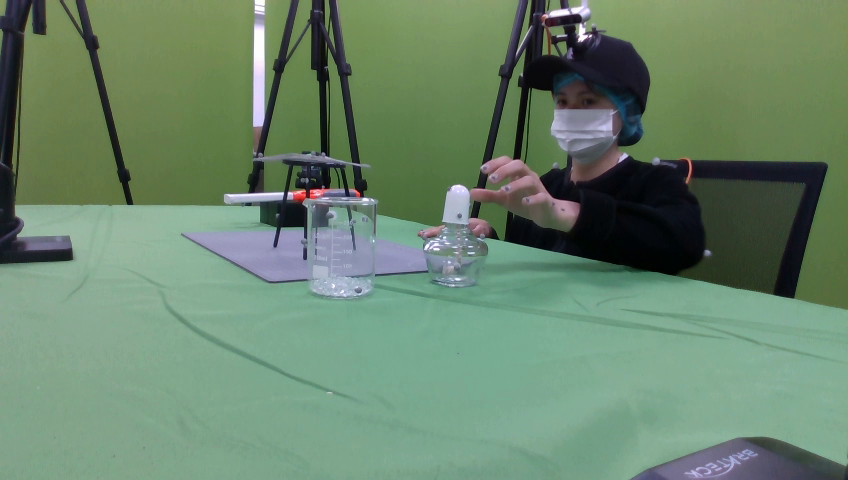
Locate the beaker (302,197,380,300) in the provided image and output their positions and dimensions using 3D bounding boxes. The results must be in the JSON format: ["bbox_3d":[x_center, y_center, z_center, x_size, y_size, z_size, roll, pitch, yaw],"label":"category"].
[{"bbox_3d":[-0.089,0.007,0.625,0.084,0.100,0.074,4,7,16],"label":"beaker"}]

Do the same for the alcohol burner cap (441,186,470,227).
[{"bbox_3d":[0.038,-0.039,0.700,0.034,0.048,0.034,6,4,0],"label":"alcohol burner cap"}]

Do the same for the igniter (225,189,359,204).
[{"bbox_3d":[-0.264,-0.089,1.239,0.278,0.025,0.057,-5,12,-32],"label":"igniter"}]

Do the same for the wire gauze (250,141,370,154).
[{"bbox_3d":[-0.163,-0.131,0.867,0.124,0.011,0.122,-1,8,32],"label":"wire gauze"}]

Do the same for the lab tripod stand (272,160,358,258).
[{"bbox_3d":[-0.159,-0.048,0.876,0.148,0.131,0.148,3,5,0],"label":"lab tripod stand"}]

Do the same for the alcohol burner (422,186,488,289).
[{"bbox_3d":[0.036,-0.004,0.705,0.078,0.119,0.078,0,7,0],"label":"alcohol burner"}]
